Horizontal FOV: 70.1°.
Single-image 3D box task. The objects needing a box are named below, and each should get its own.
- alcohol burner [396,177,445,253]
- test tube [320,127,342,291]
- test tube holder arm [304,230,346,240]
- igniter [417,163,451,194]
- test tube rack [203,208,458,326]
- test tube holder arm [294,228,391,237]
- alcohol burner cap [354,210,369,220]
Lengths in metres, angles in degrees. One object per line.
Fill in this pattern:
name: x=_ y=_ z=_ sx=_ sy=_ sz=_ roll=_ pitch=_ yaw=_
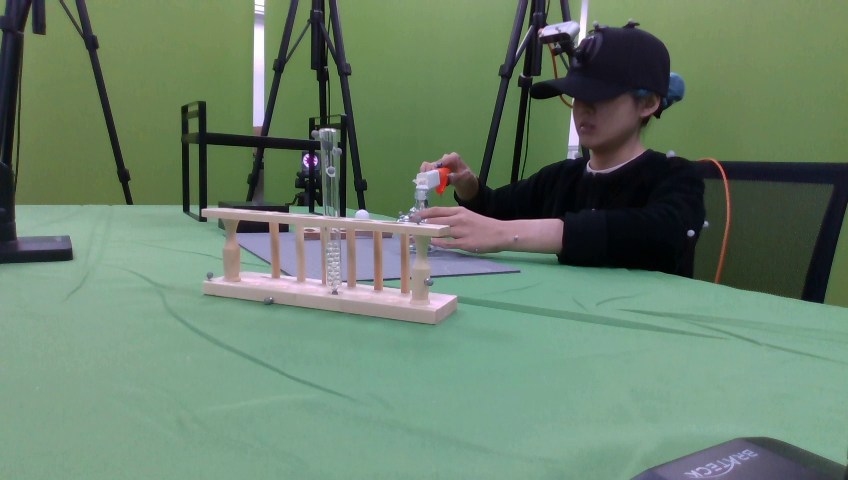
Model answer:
alcohol burner: x=-0.005 y=-0.039 z=0.943 sx=0.078 sy=0.119 sz=0.078 roll=4 pitch=7 yaw=0
test tube: x=-0.084 y=-0.027 z=0.554 sx=0.017 sy=0.150 sz=0.017 roll=-1 pitch=6 yaw=0
test tube holder arm: x=-0.175 y=-0.009 z=1.027 sx=0.088 sy=0.015 sz=0.010 roll=0 pitch=43 yaw=-31
igniter: x=0.022 y=-0.109 z=1.086 sx=0.025 sy=0.057 sz=0.277 roll=-3 pitch=7 yaw=10
test tube rack: x=-0.090 y=0.019 z=0.579 sx=0.241 sy=0.085 sz=0.067 roll=5 pitch=7 yaw=19
test tube holder arm: x=-0.138 y=-0.013 z=1.054 sx=0.179 sy=0.015 sz=0.013 roll=-1 pitch=43 yaw=-32
alcohol burner cap: x=-0.118 y=-0.033 z=1.134 sx=0.034 sy=0.048 sz=0.034 roll=2 pitch=7 yaw=0
